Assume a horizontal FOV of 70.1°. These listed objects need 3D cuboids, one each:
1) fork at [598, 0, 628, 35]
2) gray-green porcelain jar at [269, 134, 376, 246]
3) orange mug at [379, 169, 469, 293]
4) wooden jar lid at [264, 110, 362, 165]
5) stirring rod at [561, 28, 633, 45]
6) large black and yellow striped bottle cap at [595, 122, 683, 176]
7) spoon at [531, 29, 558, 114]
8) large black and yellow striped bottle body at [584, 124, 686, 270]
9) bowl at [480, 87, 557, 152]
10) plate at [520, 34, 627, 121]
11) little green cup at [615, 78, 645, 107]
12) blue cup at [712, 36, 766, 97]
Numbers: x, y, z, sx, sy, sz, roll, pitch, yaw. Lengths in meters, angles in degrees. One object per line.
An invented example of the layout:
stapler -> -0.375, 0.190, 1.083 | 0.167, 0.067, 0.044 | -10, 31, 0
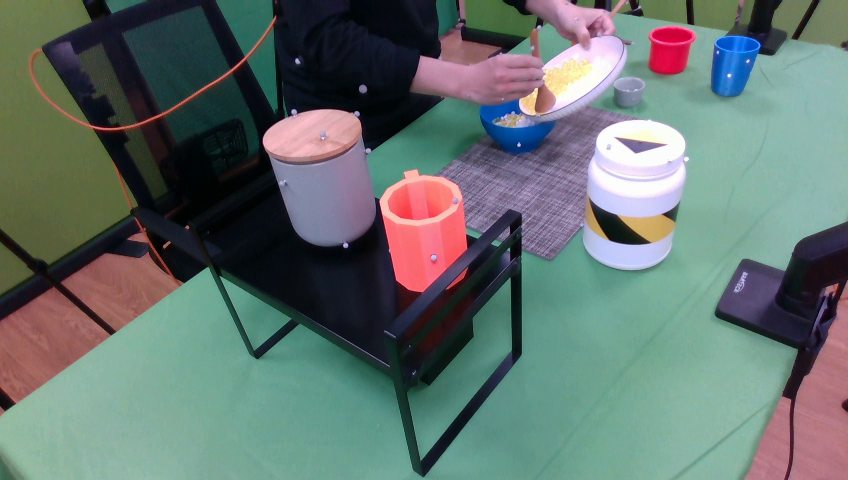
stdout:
fork -> 0.413, -0.481, 1.377 | 0.207, 0.019, 0.028 | -56, 43, 12
gray-green porcelain jar -> -0.115, -0.064, 0.715 | 0.106, 0.127, 0.105 | -4, 40, 4
orange mug -> -0.002, -0.019, 0.665 | 0.083, 0.101, 0.125 | -12, 45, -4
wooden jar lid -> -0.122, -0.112, 0.673 | 0.108, 0.021, 0.108 | -4, 37, 4
stirring rod -> 0.382, -0.454, 1.345 | 0.174, 0.006, 0.014 | 27, 52, 34
large black and yellow striped bottle cap -> 0.293, -0.126, 0.826 | 0.115, 0.019, 0.114 | -3, 40, 3
spoon -> 0.193, -0.273, 0.999 | 0.041, 0.195, 0.021 | -25, 54, 4
large black and yellow striped bottle body -> 0.304, -0.063, 0.880 | 0.131, 0.185, 0.130 | -5, 41, 5
bowl -> 0.185, -0.222, 1.160 | 0.151, 0.077, 0.150 | -6, 40, 6
plate -> 0.272, -0.286, 1.092 | 0.208, 0.038, 0.208 | -31, 30, 21
little green cup -> 0.426, -0.306, 1.257 | 0.061, 0.039, 0.061 | -4, 40, 4
blue cup -> 0.627, -0.350, 1.227 | 0.092, 0.100, 0.092 | -4, 39, 4
